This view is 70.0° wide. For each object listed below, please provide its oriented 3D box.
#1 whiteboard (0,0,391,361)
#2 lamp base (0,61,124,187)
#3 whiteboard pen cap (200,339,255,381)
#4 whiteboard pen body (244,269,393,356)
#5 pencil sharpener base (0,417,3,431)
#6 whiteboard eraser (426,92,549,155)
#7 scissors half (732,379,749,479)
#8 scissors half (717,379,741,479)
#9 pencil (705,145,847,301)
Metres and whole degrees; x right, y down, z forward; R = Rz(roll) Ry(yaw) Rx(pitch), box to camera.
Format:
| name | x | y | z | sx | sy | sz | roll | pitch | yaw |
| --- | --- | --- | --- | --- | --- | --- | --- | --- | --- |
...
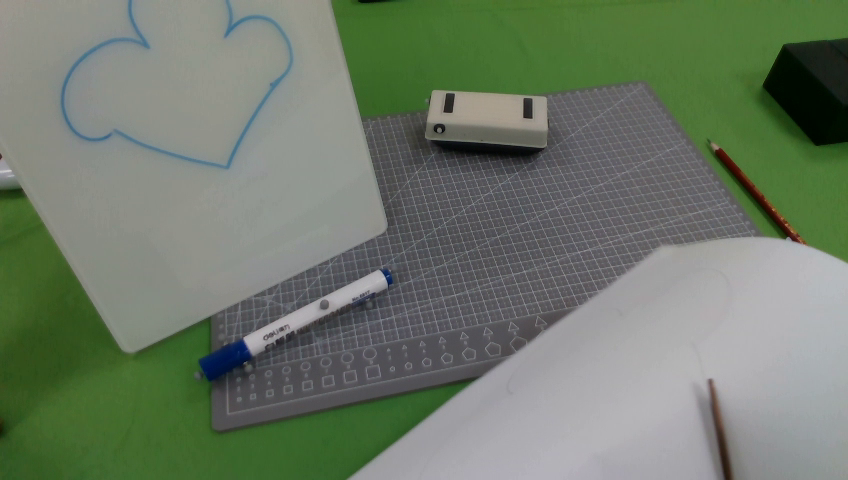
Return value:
| name | x | y | z | sx | sy | sz | roll | pitch | yaw |
| --- | --- | --- | --- | --- | --- | --- | --- | --- | --- |
| whiteboard | -0.178 | -0.112 | 0.433 | 0.217 | 0.308 | 0.142 | -26 | 36 | -21 |
| lamp base | -0.376 | -0.162 | 0.512 | 0.178 | 0.182 | 0.160 | 22 | 53 | 19 |
| whiteboard pen cap | -0.134 | 0.082 | 0.415 | 0.033 | 0.018 | 0.018 | -27 | 55 | -21 |
| whiteboard pen body | -0.085 | 0.057 | 0.436 | 0.141 | 0.017 | 0.017 | -26 | 55 | -21 |
| pencil sharpener base | -0.313 | 0.097 | 0.344 | 0.061 | 0.108 | 0.076 | 29 | 55 | 21 |
| whiteboard eraser | 0.060 | -0.108 | 0.568 | 0.112 | 0.042 | 0.055 | 5 | 51 | 3 |
| scissors half | 0.141 | 0.153 | 0.289 | 0.013 | 0.040 | 0.175 | 6 | 92 | -13 |
| scissors half | 0.146 | 0.151 | 0.269 | 0.013 | 0.040 | 0.174 | 7 | 70 | -18 |
| pencil | 0.302 | -0.024 | 0.530 | 0.012 | 0.012 | 0.192 | -12 | 49 | -11 |
